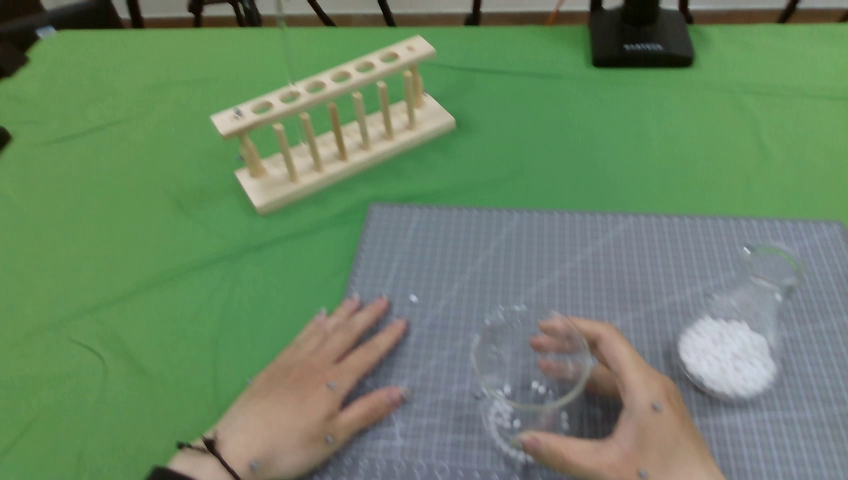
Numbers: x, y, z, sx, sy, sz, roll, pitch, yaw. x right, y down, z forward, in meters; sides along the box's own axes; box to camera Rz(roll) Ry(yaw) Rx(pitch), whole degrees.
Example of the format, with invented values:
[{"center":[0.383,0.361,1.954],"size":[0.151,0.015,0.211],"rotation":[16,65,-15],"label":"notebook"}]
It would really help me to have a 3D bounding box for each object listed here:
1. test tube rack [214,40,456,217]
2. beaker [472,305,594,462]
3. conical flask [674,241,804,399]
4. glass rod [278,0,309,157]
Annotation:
[{"center":[-0.087,-0.123,0.651],"size":[0.242,0.086,0.066],"rotation":[-27,51,-16],"label":"test tube rack"},{"center":[0.071,0.102,0.420],"size":[0.074,0.101,0.083],"rotation":[-22,50,-10],"label":"beaker"},{"center":[0.228,0.054,0.430],"size":[0.075,0.123,0.074],"rotation":[-3,48,4],"label":"conical flask"},{"center":[-0.131,-0.168,0.607],"size":[0.008,0.201,0.008],"rotation":[0,42,1],"label":"glass rod"}]
